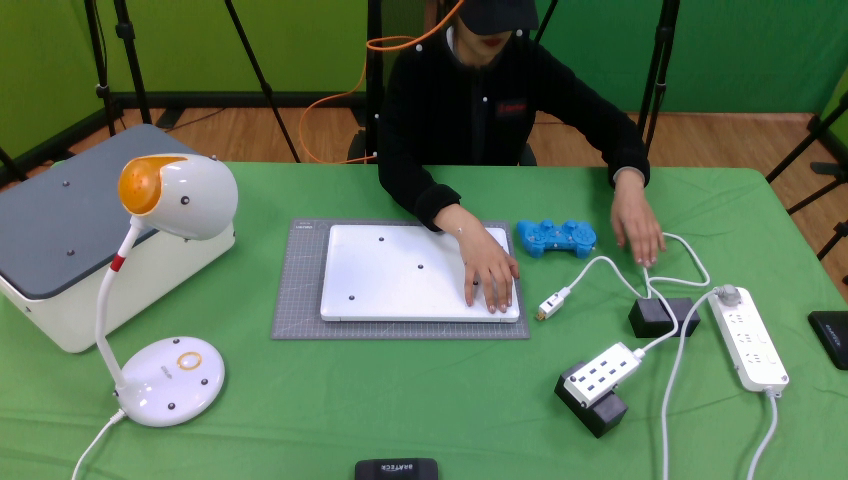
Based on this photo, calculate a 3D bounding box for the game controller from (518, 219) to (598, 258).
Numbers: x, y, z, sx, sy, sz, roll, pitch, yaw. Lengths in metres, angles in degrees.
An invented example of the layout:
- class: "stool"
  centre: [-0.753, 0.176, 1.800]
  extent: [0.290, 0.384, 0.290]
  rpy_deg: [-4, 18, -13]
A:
- class: "game controller"
  centre: [0.269, -0.013, 1.210]
  extent: [0.155, 0.052, 0.096]
  rpy_deg: [1, 51, -2]

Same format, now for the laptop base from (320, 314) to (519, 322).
- class: "laptop base"
  centre: [-0.009, 0.062, 1.138]
  extent: [0.354, 0.023, 0.234]
  rpy_deg: [1, 43, -3]

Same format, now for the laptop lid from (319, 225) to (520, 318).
- class: "laptop lid"
  centre: [-0.008, 0.052, 1.131]
  extent: [0.357, 0.013, 0.240]
  rpy_deg: [2, 44, -2]

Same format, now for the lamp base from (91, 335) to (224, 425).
- class: "lamp base"
  centre: [-0.401, 0.171, 0.892]
  extent: [0.160, 0.181, 0.179]
  rpy_deg: [30, 53, 23]

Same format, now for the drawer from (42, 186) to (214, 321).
- class: "drawer"
  centre: [-0.529, 0.018, 1.097]
  extent: [0.194, 0.073, 0.211]
  rpy_deg: [29, 53, 20]

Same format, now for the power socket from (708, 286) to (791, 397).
- class: "power socket"
  centre: [0.567, 0.167, 1.064]
  extent: [0.072, 0.033, 0.225]
  rpy_deg: [2, 46, -1]

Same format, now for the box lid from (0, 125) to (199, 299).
- class: "box lid"
  centre: [-0.540, -0.068, 1.016]
  extent: [0.262, 0.015, 0.371]
  rpy_deg: [30, 51, 23]

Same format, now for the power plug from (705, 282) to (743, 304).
- class: "power plug"
  centre: [0.539, 0.097, 1.098]
  extent: [0.072, 0.053, 0.035]
  rpy_deg: [8, 47, 8]

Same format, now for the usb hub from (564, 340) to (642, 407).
- class: "usb hub"
  centre: [0.280, 0.206, 0.944]
  extent: [0.125, 0.025, 0.049]
  rpy_deg: [-26, 52, -27]

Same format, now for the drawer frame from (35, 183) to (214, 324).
- class: "drawer frame"
  centre: [-0.531, 0.018, 1.092]
  extent: [0.201, 0.083, 0.213]
  rpy_deg: [29, 52, 21]

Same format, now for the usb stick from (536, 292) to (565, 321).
- class: "usb stick"
  centre: [0.225, 0.121, 1.087]
  extent: [0.059, 0.027, 0.021]
  rpy_deg: [-37, 62, -15]

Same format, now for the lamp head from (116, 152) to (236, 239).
- class: "lamp head"
  centre: [-0.315, -0.057, 0.747]
  extent: [0.112, 0.112, 0.123]
  rpy_deg: [26, 10, 20]

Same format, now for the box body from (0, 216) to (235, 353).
- class: "box body"
  centre: [-0.550, -0.007, 1.068]
  extent: [0.253, 0.161, 0.363]
  rpy_deg: [30, 51, 23]
